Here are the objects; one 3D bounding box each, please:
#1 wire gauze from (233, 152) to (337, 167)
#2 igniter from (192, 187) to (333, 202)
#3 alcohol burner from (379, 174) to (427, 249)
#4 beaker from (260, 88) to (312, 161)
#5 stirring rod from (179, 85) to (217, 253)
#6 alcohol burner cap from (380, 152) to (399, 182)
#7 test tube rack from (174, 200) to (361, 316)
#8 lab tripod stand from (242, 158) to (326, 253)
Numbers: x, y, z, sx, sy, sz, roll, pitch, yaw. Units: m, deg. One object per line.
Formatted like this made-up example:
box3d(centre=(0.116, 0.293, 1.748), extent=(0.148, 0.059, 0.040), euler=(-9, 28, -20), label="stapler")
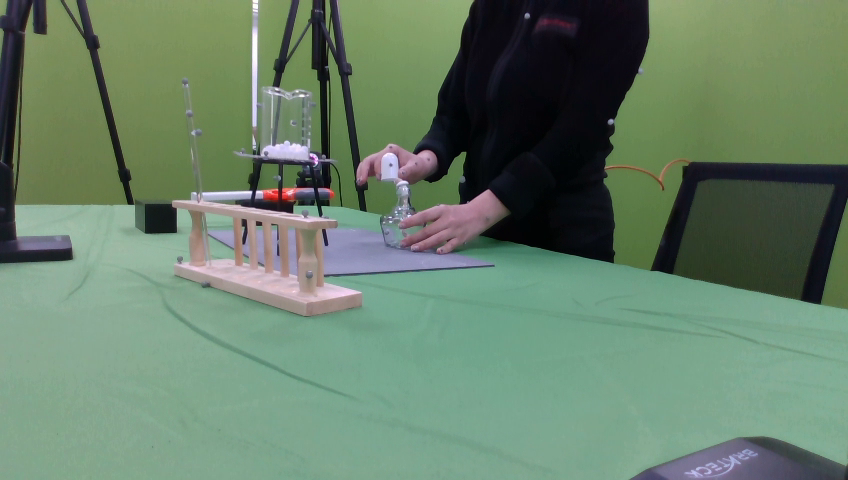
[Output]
box3d(centre=(-0.205, -0.119, 0.887), extent=(0.122, 0.011, 0.124), euler=(2, 4, -32), label="wire gauze")
box3d(centre=(-0.316, -0.090, 1.214), extent=(0.278, 0.025, 0.057), euler=(-5, 12, -31), label="igniter")
box3d(centre=(-0.034, -0.046, 0.974), extent=(0.078, 0.119, 0.078), euler=(1, 6, 0), label="alcohol burner")
box3d(centre=(-0.201, -0.166, 0.876), extent=(0.074, 0.100, 0.083), euler=(1, 7, -18), label="beaker")
box3d(centre=(-0.236, -0.073, 0.634), extent=(0.006, 0.176, 0.014), euler=(0, 9, 42), label="stirring rod")
box3d(centre=(-0.058, -0.120, 0.987), extent=(0.034, 0.048, 0.034), euler=(-4, -3, 0), label="alcohol burner cap")
box3d(centre=(-0.169, 0.009, 0.622), extent=(0.241, 0.085, 0.067), euler=(9, 9, 41), label="test tube rack")
box3d(centre=(-0.207, -0.054, 0.895), extent=(0.148, 0.131, 0.148), euler=(3, 5, 0), label="lab tripod stand")
